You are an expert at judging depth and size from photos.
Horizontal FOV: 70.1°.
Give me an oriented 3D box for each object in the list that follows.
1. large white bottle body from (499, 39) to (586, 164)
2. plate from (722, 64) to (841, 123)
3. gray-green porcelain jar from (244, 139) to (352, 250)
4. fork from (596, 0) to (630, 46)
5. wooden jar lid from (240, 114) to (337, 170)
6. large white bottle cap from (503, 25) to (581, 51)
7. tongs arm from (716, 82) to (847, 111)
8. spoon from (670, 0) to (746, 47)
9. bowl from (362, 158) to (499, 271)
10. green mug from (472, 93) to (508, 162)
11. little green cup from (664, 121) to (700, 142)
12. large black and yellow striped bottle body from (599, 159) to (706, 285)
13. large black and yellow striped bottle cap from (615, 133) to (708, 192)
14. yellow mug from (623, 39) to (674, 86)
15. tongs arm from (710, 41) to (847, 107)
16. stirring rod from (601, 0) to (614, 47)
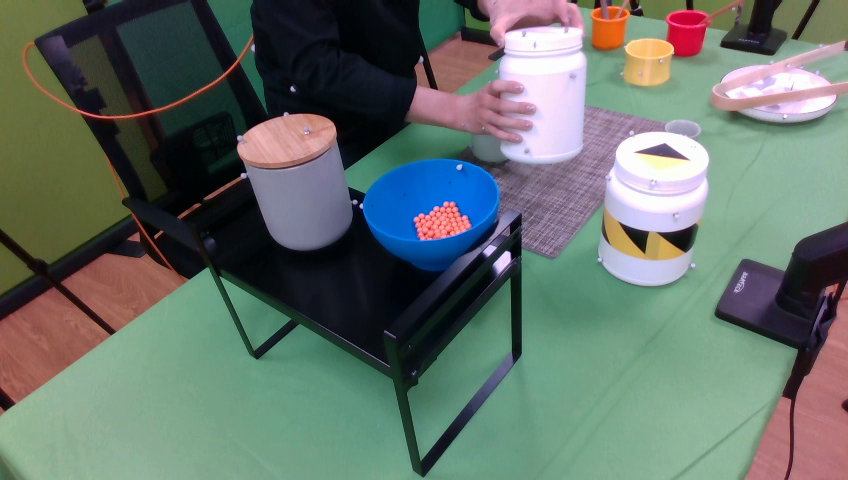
[{"bbox_3d":[0.183,-0.224,0.938,0.130,0.185,0.130,-4,27,2],"label":"large white bottle body"},{"bbox_3d":[0.695,-0.282,1.189,0.207,0.039,0.206,-4,40,4],"label":"plate"},{"bbox_3d":[-0.144,-0.060,0.714,0.106,0.127,0.105,-4,41,4],"label":"gray-green porcelain jar"},{"bbox_3d":[0.481,-0.556,1.452,0.028,0.019,0.207,40,103,38],"label":"fork"},{"bbox_3d":[-0.149,-0.106,0.673,0.108,0.021,0.108,-6,38,5],"label":"wooden jar lid"},{"bbox_3d":[0.175,-0.300,0.900,0.115,0.018,0.114,-4,29,3],"label":"large white bottle cap"},{"bbox_3d":[0.738,-0.282,1.134,0.388,0.028,0.028,-9,47,-5],"label":"tongs arm"},{"bbox_3d":[0.629,-0.485,1.350,0.022,0.193,0.042,47,54,-7],"label":"spoon"},{"bbox_3d":[0.011,-0.019,0.679,0.151,0.077,0.150,-5,41,5],"label":"bowl"},{"bbox_3d":[0.143,-0.202,1.122,0.093,0.105,0.124,-29,45,-23],"label":"green mug"},{"bbox_3d":[0.473,-0.188,1.113,0.061,0.039,0.061,-6,41,5],"label":"little green cup"},{"bbox_3d":[0.320,-0.042,0.854,0.131,0.185,0.130,-4,41,4],"label":"large black and yellow striped bottle body"},{"bbox_3d":[0.313,-0.105,0.799,0.115,0.019,0.114,-5,41,5],"label":"large black and yellow striped bottle cap"},{"bbox_3d":[0.484,-0.398,1.334,0.100,0.064,0.130,-18,41,-11],"label":"yellow mug"},{"bbox_3d":[0.712,-0.332,1.194,0.386,0.026,0.050,-19,45,-16],"label":"tongs arm"},{"bbox_3d":[0.439,-0.552,1.463,0.014,0.006,0.175,-7,83,3],"label":"stirring rod"}]
